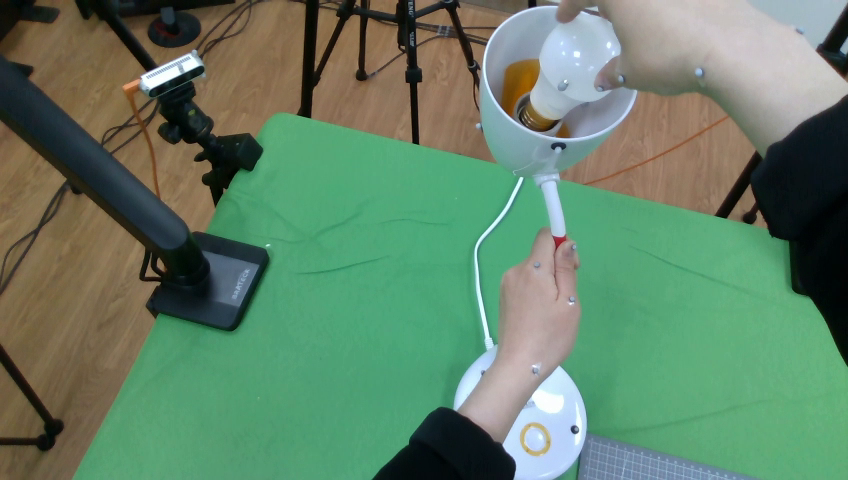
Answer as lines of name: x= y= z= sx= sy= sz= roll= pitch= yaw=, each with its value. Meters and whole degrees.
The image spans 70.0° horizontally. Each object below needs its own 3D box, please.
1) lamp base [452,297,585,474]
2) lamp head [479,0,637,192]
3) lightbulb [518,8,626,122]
lamp base: x=0.111 y=0.150 z=0.666 sx=0.161 sy=0.181 sz=0.177 roll=-23 pitch=62 yaw=-16
lamp head: x=0.094 y=-0.102 z=0.476 sx=0.112 sy=0.123 sz=0.111 roll=1 pitch=66 yaw=-2
lightbulb: x=0.103 y=-0.123 z=0.451 sx=0.060 sy=0.108 sz=0.059 roll=10 pitch=63 yaw=-20
